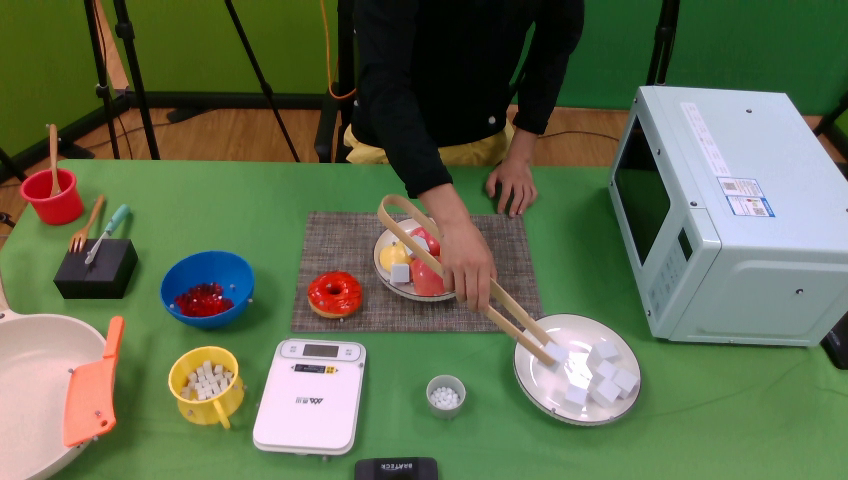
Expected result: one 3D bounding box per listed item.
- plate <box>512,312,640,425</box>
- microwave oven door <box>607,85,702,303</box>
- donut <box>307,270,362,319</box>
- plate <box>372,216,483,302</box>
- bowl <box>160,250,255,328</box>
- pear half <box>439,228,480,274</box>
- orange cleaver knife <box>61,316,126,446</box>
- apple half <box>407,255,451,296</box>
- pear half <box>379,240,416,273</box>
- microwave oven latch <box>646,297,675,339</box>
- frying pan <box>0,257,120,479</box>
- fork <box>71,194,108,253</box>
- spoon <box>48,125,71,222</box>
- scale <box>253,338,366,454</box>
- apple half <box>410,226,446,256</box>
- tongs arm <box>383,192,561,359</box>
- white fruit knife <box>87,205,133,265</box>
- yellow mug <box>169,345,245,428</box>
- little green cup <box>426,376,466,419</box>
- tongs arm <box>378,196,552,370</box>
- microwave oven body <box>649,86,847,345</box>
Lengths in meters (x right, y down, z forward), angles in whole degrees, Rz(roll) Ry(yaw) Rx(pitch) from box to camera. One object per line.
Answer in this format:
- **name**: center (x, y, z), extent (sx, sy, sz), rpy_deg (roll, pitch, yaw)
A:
- **plate**: center (0.246, 0.213, 0.999), extent (0.208, 0.039, 0.206), rpy_deg (2, 46, -2)
- **microwave oven door**: center (0.423, -0.094, 1.140), extent (0.039, 0.245, 0.353), rpy_deg (2, 46, -1)
- **donut**: center (-0.158, 0.097, 1.073), extent (0.099, 0.048, 0.098), rpy_deg (4, 45, -4)
- **plate**: center (0.006, 0.038, 1.145), extent (0.209, 0.038, 0.208), rpy_deg (2, 46, -2)
- **bowl**: center (-0.362, 0.098, 1.039), extent (0.151, 0.077, 0.150), rpy_deg (2, 45, -2)
- **pear half**: center (0.064, 0.006, 1.150), extent (0.076, 0.056, 0.109), rpy_deg (-10, 43, -2)
- **orange cleaver knife**: center (-0.480, 0.199, 0.888), extent (0.077, 0.012, 0.210), rpy_deg (-8, 46, -9)
- **apple half**: center (0.011, 0.058, 1.103), extent (0.075, 0.053, 0.080), rpy_deg (-6, 43, -14)
- **pear half**: center (-0.048, 0.024, 1.146), extent (0.070, 0.031, 0.087), rpy_deg (12, 47, -10)
- **microwave oven latch**: center (0.412, 0.134, 1.061), extent (0.030, 0.029, 0.078), rpy_deg (4, 45, 1)
- **frying pan**: center (-0.647, 0.164, 0.936), extent (0.307, 0.103, 0.485), rpy_deg (-19, 58, -22)
- **fork**: center (-0.634, -0.036, 1.158), extent (0.028, 0.019, 0.206), rpy_deg (-8, 31, -8)
- **spoon**: center (-0.718, -0.131, 1.188), extent (0.041, 0.021, 0.193), rpy_deg (-3, 90, -7)
- **scale**: center (-0.175, 0.236, 0.951), extent (0.149, 0.032, 0.199), rpy_deg (4, 45, -1)
- **apple half**: center (0.011, -0.006, 1.176), extent (0.081, 0.033, 0.081), rpy_deg (2, 52, -3)
- **tongs arm**: center (0.072, 0.057, 0.998), extent (0.383, 0.026, 0.051), rpy_deg (47, 51, 13)
- **white fruit knife**: center (-0.584, -0.013, 1.129), extent (0.016, 0.027, 0.206), rpy_deg (-1, 31, -4)
- **yellow mug**: center (-0.323, 0.230, 0.922), extent (0.100, 0.064, 0.130), rpy_deg (-24, 53, -25)
- **little green cup**: center (0.033, 0.248, 0.950), extent (0.061, 0.039, 0.061), rpy_deg (2, 46, -2)
- **tongs arm**: center (0.058, 0.068, 0.983), extent (0.386, 0.028, 0.028), rpy_deg (44, 54, 10)
- **microwave oven body**: center (0.567, -0.053, 1.118), extent (0.326, 0.261, 0.439), rpy_deg (2, 45, -1)
